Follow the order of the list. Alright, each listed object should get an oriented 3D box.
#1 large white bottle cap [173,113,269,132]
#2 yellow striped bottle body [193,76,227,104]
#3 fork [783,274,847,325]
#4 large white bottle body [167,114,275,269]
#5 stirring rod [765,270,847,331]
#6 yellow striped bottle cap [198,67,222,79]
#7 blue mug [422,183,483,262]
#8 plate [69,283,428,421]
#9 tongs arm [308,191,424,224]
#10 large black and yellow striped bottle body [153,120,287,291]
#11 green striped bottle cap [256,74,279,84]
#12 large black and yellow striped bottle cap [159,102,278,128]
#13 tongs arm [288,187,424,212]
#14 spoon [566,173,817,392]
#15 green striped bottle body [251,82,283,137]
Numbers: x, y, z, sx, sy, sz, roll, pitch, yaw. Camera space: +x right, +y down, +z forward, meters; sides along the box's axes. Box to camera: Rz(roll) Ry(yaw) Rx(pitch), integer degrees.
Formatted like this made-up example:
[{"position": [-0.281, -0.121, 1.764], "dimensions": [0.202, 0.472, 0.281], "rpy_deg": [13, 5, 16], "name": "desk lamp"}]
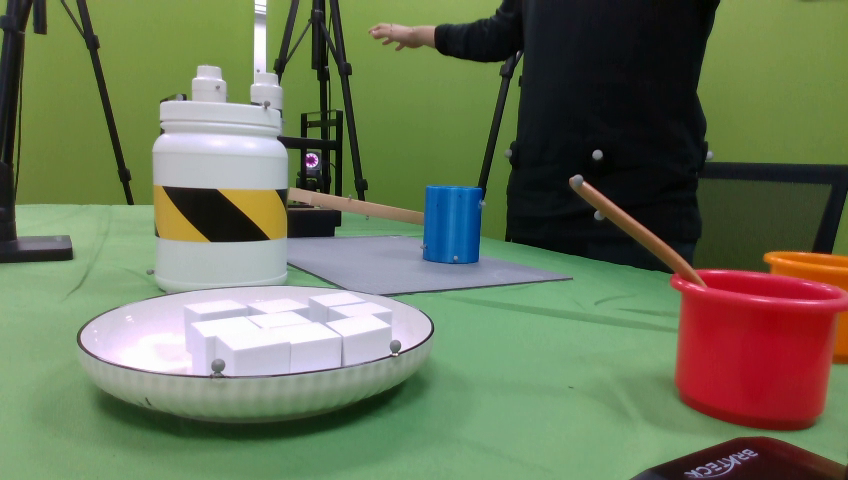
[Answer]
[{"position": [-0.254, -0.146, 0.760], "dimensions": [0.115, 0.018, 0.115], "rpy_deg": [1, 7, 0], "name": "large white bottle cap"}, {"position": [-0.414, -0.268, 1.169], "dimensions": [0.063, 0.120, 0.063], "rpy_deg": [2, 7, 0], "name": "yellow striped bottle body"}, {"position": [0.332, 0.019, 0.444], "dimensions": [0.028, 0.018, 0.207], "rpy_deg": [-1, -36, -15], "name": "fork"}, {"position": [-0.256, -0.063, 0.771], "dimensions": [0.131, 0.184, 0.130], "rpy_deg": [2, 7, 0], "name": "large white bottle body"}, {"position": [0.351, 0.020, 0.484], "dimensions": [0.176, 0.006, 0.014], "rpy_deg": [-39, -7, 12], "name": "stirring rod"}, {"position": [-0.411, -0.320, 1.163], "dimensions": [0.044, 0.018, 0.044], "rpy_deg": [1, 6, 0], "name": "yellow striped bottle cap"}, {"position": [0.032, -0.028, 0.877], "dimensions": [0.083, 0.106, 0.116], "rpy_deg": [-3, 8, -31], "name": "blue mug"}, {"position": [-0.102, 0.066, 0.381], "dimensions": [0.208, 0.039, 0.207], "rpy_deg": [2, 7, 0], "name": "plate"}, {"position": [-0.048, -0.051, 1.169], "dimensions": [0.387, 0.026, 0.050], "rpy_deg": [8, 2, -32], "name": "tongs arm"}, {"position": [-0.208, -0.042, 0.626], "dimensions": [0.131, 0.184, 0.130], "rpy_deg": [2, 7, 0], "name": "large black and yellow striped bottle body"}, {"position": [-0.314, -0.322, 1.214], "dimensions": [0.044, 0.020, 0.044], "rpy_deg": [2, 8, 0], "name": "green striped bottle cap"}, {"position": [-0.207, -0.125, 0.615], "dimensions": [0.115, 0.019, 0.115], "rpy_deg": [2, 6, 0], "name": "large black and yellow striped bottle cap"}, {"position": [-0.084, -0.062, 1.243], "dimensions": [0.389, 0.027, 0.028], "rpy_deg": [10, -2, -19], "name": "tongs arm"}, {"position": [0.161, 0.024, 0.370], "dimensions": [0.193, 0.021, 0.042], "rpy_deg": [47, 18, 3], "name": "spoon"}, {"position": [-0.317, -0.270, 1.220], "dimensions": [0.063, 0.119, 0.063], "rpy_deg": [2, 7, 0], "name": "green striped bottle body"}]
